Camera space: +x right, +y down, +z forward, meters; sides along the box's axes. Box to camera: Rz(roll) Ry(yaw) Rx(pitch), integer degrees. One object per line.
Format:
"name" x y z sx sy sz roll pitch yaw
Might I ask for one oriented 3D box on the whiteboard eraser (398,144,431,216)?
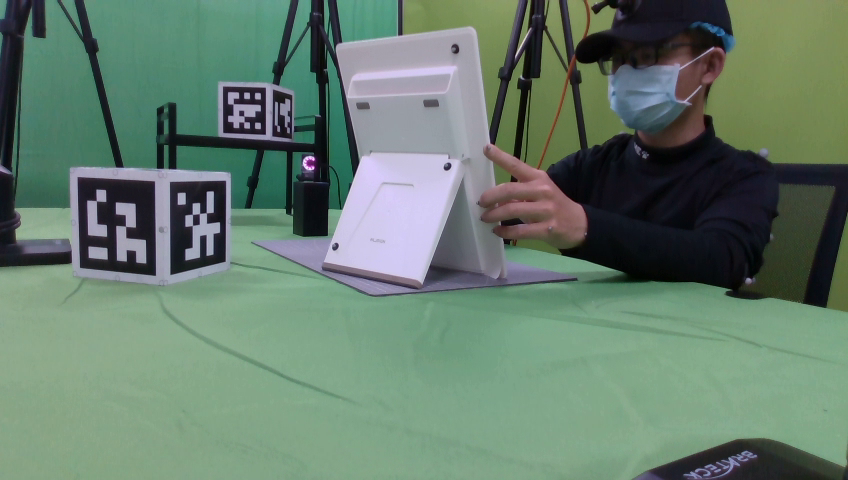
"whiteboard eraser" -0.012 -0.079 0.805 0.041 0.101 0.019 20 40 32

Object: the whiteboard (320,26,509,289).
"whiteboard" -0.046 -0.076 0.720 0.216 0.305 0.144 9 29 39
